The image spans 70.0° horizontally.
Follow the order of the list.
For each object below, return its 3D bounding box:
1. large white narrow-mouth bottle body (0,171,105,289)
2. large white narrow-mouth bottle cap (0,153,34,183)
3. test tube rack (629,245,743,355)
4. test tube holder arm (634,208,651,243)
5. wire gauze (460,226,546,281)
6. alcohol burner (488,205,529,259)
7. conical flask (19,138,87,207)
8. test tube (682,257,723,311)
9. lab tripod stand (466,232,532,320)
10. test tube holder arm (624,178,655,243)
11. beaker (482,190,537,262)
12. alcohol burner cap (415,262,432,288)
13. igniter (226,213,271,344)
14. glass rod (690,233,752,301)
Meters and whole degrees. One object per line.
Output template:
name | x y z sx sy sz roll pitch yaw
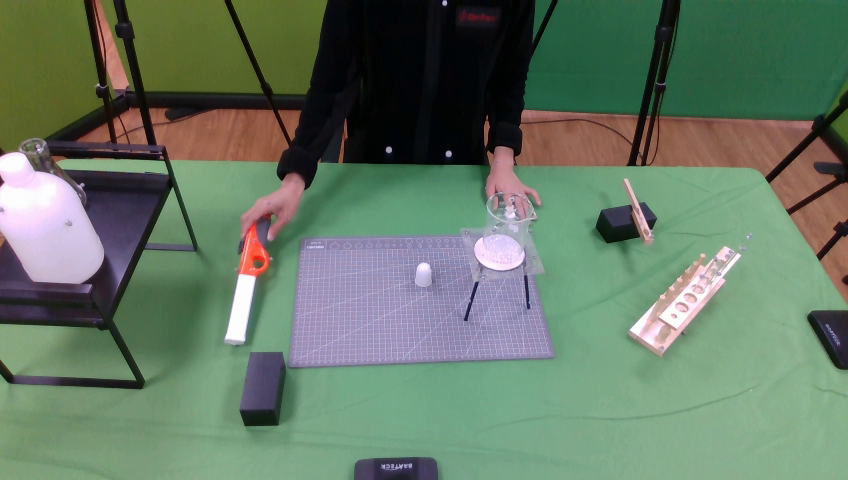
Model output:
large white narrow-mouth bottle body | -0.513 -0.029 0.818 0.102 0.195 0.101 2 46 -2
large white narrow-mouth bottle cap | -0.510 -0.090 0.754 0.038 0.024 0.037 2 46 -2
test tube rack | 0.474 0.095 1.091 0.242 0.085 0.066 -34 56 -31
test tube holder arm | 0.428 -0.030 1.189 0.010 0.015 0.087 2 47 -3
wire gauze | 0.130 0.017 1.016 0.121 0.011 0.124 -4 43 -9
alcohol burner | 0.163 -0.020 1.158 0.078 0.120 0.077 0 47 0
conical flask | -0.576 -0.097 0.930 0.075 0.122 0.075 2 46 -2
test tube | 0.475 0.080 1.037 0.017 0.151 0.017 1 51 -1
lab tripod stand | 0.125 0.059 1.065 0.148 0.132 0.147 1 45 0
test tube holder arm | 0.433 -0.062 1.220 0.013 0.015 0.177 1 47 -3
beaker | 0.136 -0.019 0.983 0.084 0.101 0.073 17 47 14
alcohol burner cap | 0.000 0.061 1.119 0.034 0.048 0.033 3 43 -3
igniter | -0.312 0.058 1.084 0.057 0.025 0.275 12 51 -16
glass rod | 0.507 0.053 1.041 0.008 0.200 0.008 5 51 -6
